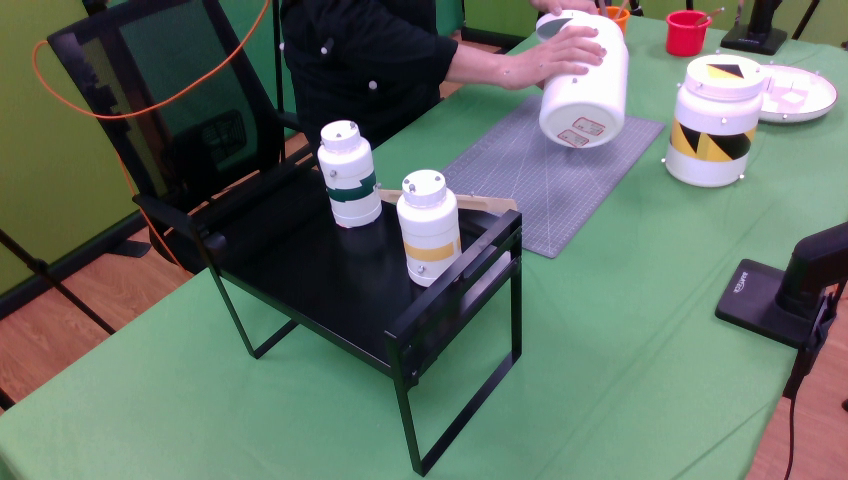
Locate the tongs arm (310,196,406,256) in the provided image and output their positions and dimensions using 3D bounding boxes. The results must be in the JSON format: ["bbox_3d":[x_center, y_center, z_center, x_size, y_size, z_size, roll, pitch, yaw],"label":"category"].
[{"bbox_3d":[-0.078,-0.012,0.943,0.028,0.028,0.384,-42,39,-23],"label":"tongs arm"}]

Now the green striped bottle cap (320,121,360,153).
[{"bbox_3d":[-0.097,-0.120,0.699,0.044,0.020,0.044,-3,40,3],"label":"green striped bottle cap"}]

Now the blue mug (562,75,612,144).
[{"bbox_3d":[0.298,-0.240,1.143,0.081,0.106,0.117,30,53,36],"label":"blue mug"}]

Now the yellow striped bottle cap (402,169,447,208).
[{"bbox_3d":[0.000,-0.052,0.604,0.044,0.019,0.044,-5,43,5],"label":"yellow striped bottle cap"}]

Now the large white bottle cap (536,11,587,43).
[{"bbox_3d":[0.278,-0.418,1.190,0.114,0.115,0.018,4,86,13],"label":"large white bottle cap"}]

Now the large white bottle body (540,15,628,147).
[{"bbox_3d":[0.265,-0.261,0.993,0.130,0.131,0.184,5,64,15],"label":"large white bottle body"}]

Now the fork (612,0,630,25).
[{"bbox_3d":[0.480,-0.556,1.453,0.028,0.019,0.207,41,103,40],"label":"fork"}]

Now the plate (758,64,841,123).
[{"bbox_3d":[0.694,-0.283,1.189,0.207,0.039,0.206,-4,40,4],"label":"plate"}]

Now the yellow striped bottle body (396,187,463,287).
[{"bbox_3d":[0.006,-0.013,0.638,0.063,0.121,0.062,-5,41,5],"label":"yellow striped bottle body"}]

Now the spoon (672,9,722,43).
[{"bbox_3d":[0.606,-0.476,1.345,0.042,0.021,0.193,-6,-3,-2],"label":"spoon"}]

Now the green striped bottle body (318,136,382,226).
[{"bbox_3d":[-0.090,-0.080,0.733,0.063,0.120,0.063,-5,41,4],"label":"green striped bottle body"}]

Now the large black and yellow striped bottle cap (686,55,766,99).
[{"bbox_3d":[0.474,-0.258,0.952,0.115,0.019,0.114,-5,41,5],"label":"large black and yellow striped bottle cap"}]

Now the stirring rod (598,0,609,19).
[{"bbox_3d":[0.437,-0.551,1.462,0.014,0.006,0.175,-11,83,1],"label":"stirring rod"}]

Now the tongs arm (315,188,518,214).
[{"bbox_3d":[-0.028,-0.060,0.988,0.382,0.027,0.051,9,44,36],"label":"tongs arm"}]

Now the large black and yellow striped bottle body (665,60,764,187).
[{"bbox_3d":[0.482,-0.196,1.008,0.131,0.185,0.130,-4,41,4],"label":"large black and yellow striped bottle body"}]
